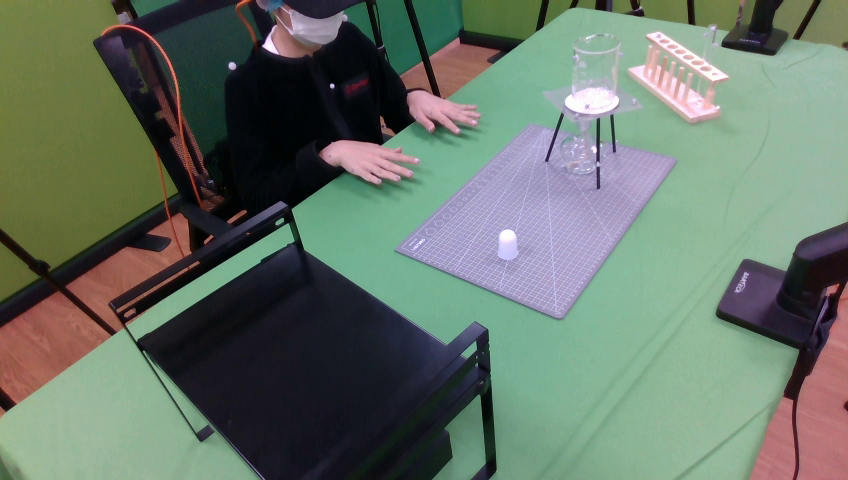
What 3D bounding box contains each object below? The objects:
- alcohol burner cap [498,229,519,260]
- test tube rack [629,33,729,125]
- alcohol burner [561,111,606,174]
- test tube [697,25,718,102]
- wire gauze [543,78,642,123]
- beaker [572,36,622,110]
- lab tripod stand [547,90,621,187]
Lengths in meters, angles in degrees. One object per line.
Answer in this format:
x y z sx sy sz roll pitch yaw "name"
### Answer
0.131 0.004 0.938 0.034 0.048 0.033 -4 40 4 "alcohol burner cap"
0.516 -0.337 1.247 0.067 0.085 0.240 -14 41 -7 "test tube rack"
0.283 -0.177 1.071 0.078 0.119 0.077 -5 42 5 "alcohol burner"
0.546 -0.337 1.166 0.017 0.151 0.017 -5 36 4 "test tube"
0.282 -0.234 1.021 0.125 0.011 0.120 -17 38 -4 "wire gauze"
0.279 -0.274 0.992 0.074 0.101 0.083 -14 40 -5 "beaker"
0.289 -0.184 1.062 0.148 0.132 0.147 -6 41 6 "lab tripod stand"
